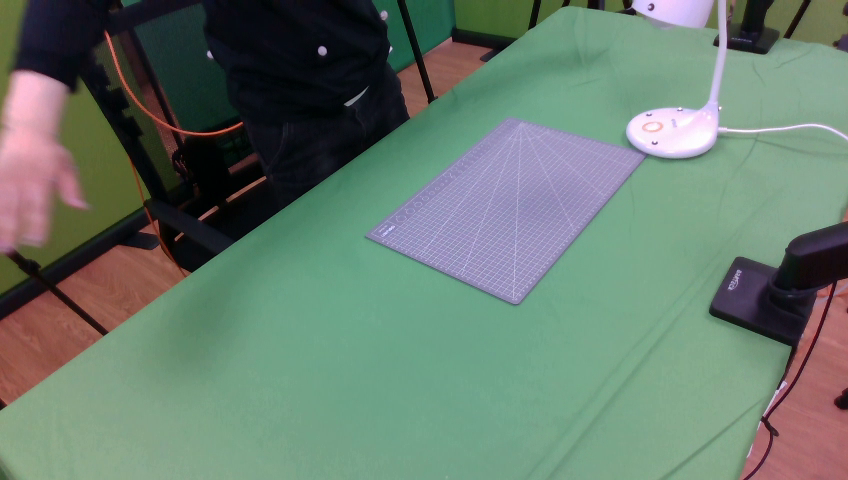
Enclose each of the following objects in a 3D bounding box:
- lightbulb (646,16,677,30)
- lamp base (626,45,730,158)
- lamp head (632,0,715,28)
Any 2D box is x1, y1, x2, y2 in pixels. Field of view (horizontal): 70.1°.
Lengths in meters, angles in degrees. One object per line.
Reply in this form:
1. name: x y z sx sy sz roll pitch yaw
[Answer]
1. lightbulb: 0.364 -0.362 0.883 0.060 0.108 0.059 9 40 -7
2. lamp base: 0.467 -0.262 1.086 0.179 0.181 0.159 -4 41 -1
3. lamp head: 0.376 -0.379 0.868 0.113 0.123 0.112 13 31 -7
